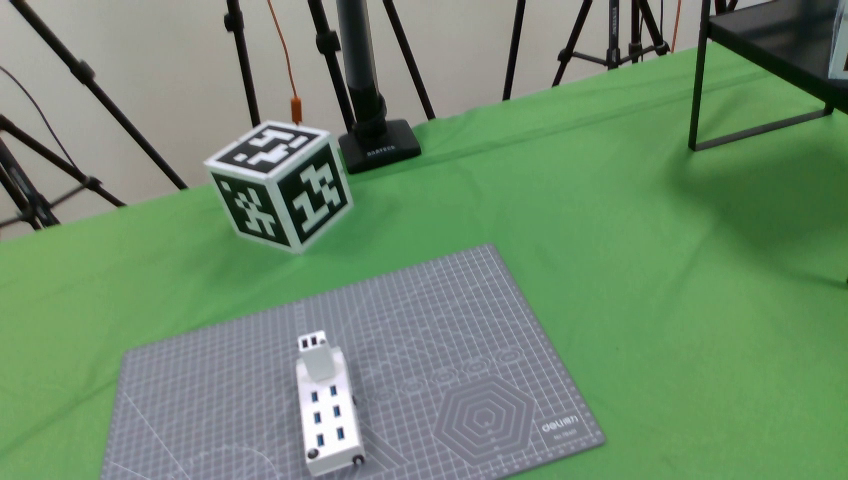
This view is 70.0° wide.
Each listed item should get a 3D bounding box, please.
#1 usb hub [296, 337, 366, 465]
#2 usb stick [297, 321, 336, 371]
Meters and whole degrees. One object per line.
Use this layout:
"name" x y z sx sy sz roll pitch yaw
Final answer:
"usb hub" -0.092 0.149 0.579 0.049 0.025 0.123 -17 39 -5
"usb stick" -0.102 0.108 0.585 0.027 0.060 0.021 -20 41 -7
